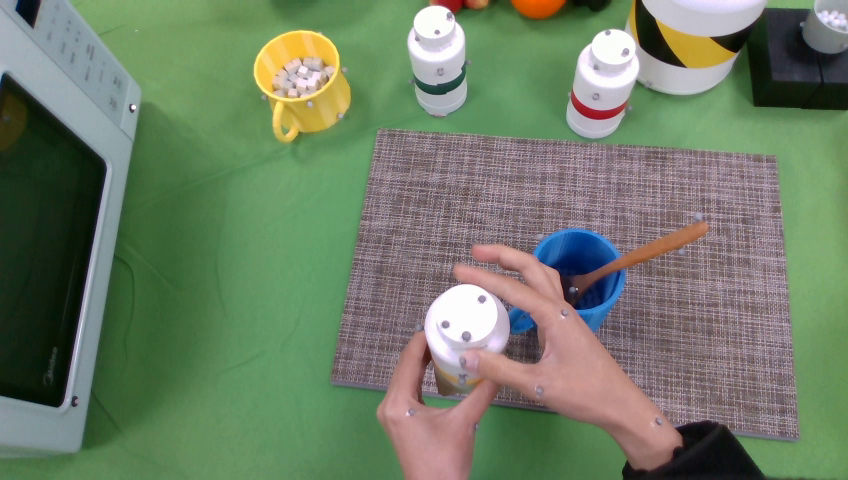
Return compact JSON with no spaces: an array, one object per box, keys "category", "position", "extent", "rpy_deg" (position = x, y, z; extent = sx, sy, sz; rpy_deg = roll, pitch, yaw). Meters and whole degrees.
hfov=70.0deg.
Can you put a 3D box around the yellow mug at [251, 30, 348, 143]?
[{"category":"yellow mug","position":[-0.150,-0.175,0.715],"extent":[0.099,0.064,0.130],"rpy_deg":[15,71,11]}]

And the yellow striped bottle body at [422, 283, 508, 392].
[{"category":"yellow striped bottle body","position":[0.032,0.074,0.470],"extent":[0.063,0.121,0.062],"rpy_deg":[-2,63,4]}]

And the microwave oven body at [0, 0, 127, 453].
[{"category":"microwave oven body","position":[-0.514,-0.027,0.578],"extent":[0.326,0.262,0.438],"rpy_deg":[-4,68,3]}]

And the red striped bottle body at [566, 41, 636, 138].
[{"category":"red striped bottle body","position":[0.190,-0.168,0.654],"extent":[0.063,0.120,0.062],"rpy_deg":[-3,66,6]}]

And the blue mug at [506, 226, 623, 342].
[{"category":"blue mug","position":[0.122,0.053,0.575],"extent":[0.116,0.106,0.081],"rpy_deg":[-30,68,-7]}]

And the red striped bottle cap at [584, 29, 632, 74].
[{"category":"red striped bottle cap","position":[0.184,-0.189,0.606],"extent":[0.044,0.018,0.044],"rpy_deg":[0,67,1]}]

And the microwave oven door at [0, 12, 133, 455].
[{"category":"microwave oven door","position":[-0.367,0.001,0.549],"extent":[0.039,0.245,0.353],"rpy_deg":[-4,68,4]}]

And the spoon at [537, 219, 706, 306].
[{"category":"spoon","position":[0.161,0.026,0.535],"extent":[0.022,0.194,0.041],"rpy_deg":[6,64,-31]}]

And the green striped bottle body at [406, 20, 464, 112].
[{"category":"green striped bottle body","position":[0.013,-0.203,0.684],"extent":[0.063,0.120,0.062],"rpy_deg":[-1,68,4]}]

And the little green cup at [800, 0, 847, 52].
[{"category":"little green cup","position":[0.439,-0.234,0.648],"extent":[0.061,0.039,0.061],"rpy_deg":[-1,66,2]}]

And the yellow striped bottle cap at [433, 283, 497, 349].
[{"category":"yellow striped bottle cap","position":[0.029,0.053,0.422],"extent":[0.044,0.019,0.044],"rpy_deg":[-4,59,7]}]

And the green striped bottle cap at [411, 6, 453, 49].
[{"category":"green striped bottle cap","position":[0.008,-0.223,0.636],"extent":[0.044,0.020,0.044],"rpy_deg":[-2,67,4]}]

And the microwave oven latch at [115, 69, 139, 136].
[{"category":"microwave oven latch","position":[-0.363,-0.163,0.724],"extent":[0.030,0.030,0.078],"rpy_deg":[-2,69,4]}]

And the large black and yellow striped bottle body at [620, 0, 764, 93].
[{"category":"large black and yellow striped bottle body","position":[0.290,-0.261,0.648],"extent":[0.131,0.185,0.130],"rpy_deg":[-2,68,5]}]
